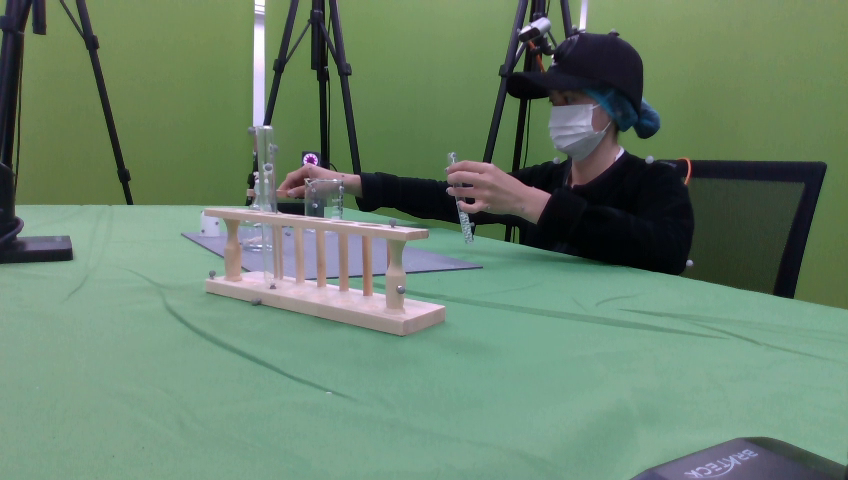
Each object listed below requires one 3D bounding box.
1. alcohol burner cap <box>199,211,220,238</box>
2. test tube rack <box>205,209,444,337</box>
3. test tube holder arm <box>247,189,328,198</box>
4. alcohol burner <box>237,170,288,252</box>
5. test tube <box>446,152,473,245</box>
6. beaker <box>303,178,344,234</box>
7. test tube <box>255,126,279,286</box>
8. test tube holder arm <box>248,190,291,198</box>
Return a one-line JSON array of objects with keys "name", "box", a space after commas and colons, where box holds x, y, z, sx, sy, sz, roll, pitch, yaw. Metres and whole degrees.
[{"name": "alcohol burner cap", "box": [-0.356, -0.027, 1.002, 0.034, 0.048, 0.034, 2, 7, 0]}, {"name": "test tube rack", "box": [-0.100, 0.021, 0.565, 0.241, 0.085, 0.067, 7, 8, 32]}, {"name": "test tube holder arm", "box": [-0.280, -0.096, 1.256, 0.179, 0.015, 0.013, -2, 18, -38]}, {"name": "alcohol burner", "box": [-0.236, -0.042, 0.882, 0.078, 0.119, 0.078, 2, 9, 0]}, {"name": "test tube", "box": [0.056, -0.066, 0.952, 0.017, 0.150, 0.017, -11, -4, 0]}, {"name": "beaker", "box": [-0.189, -0.063, 1.119, 0.073, 0.100, 0.084, 6, 9, 28]}, {"name": "test tube", "box": [-0.147, -0.031, 0.567, 0.017, 0.150, 0.017, -1, 8, 0]}, {"name": "test tube holder arm", "box": [-0.313, -0.093, 1.224, 0.088, 0.015, 0.010, -2, 18, -37]}]
